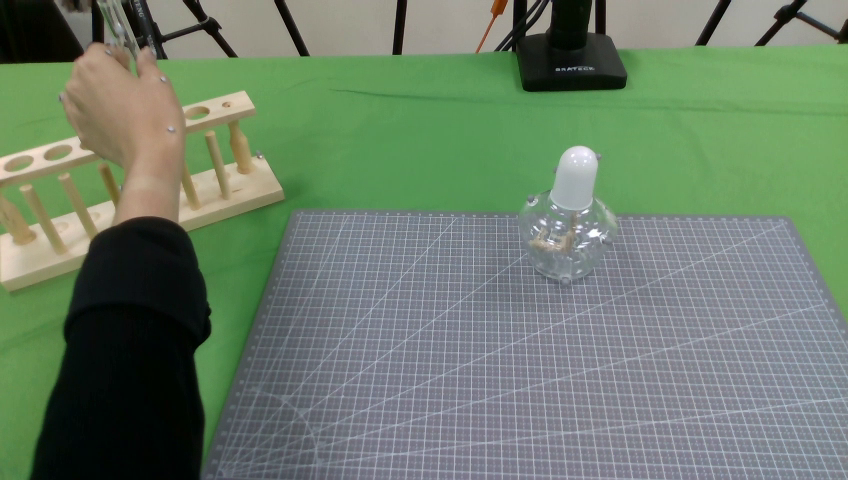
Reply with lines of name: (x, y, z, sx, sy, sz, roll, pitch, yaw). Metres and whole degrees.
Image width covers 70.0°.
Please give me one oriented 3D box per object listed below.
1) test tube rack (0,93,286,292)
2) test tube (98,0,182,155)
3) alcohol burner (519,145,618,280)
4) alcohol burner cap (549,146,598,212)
test tube rack: (-0.257, -0.047, 0.538, 0.243, 0.086, 0.066, -21, 47, -18)
test tube: (-0.231, -0.129, 0.502, 0.017, 0.151, 0.017, -1, 49, 1)
alcohol burner: (0.114, -0.025, 0.471, 0.078, 0.120, 0.077, 0, 45, 1)
alcohol burner cap: (0.113, -0.048, 0.451, 0.034, 0.048, 0.033, 1, 43, 0)
